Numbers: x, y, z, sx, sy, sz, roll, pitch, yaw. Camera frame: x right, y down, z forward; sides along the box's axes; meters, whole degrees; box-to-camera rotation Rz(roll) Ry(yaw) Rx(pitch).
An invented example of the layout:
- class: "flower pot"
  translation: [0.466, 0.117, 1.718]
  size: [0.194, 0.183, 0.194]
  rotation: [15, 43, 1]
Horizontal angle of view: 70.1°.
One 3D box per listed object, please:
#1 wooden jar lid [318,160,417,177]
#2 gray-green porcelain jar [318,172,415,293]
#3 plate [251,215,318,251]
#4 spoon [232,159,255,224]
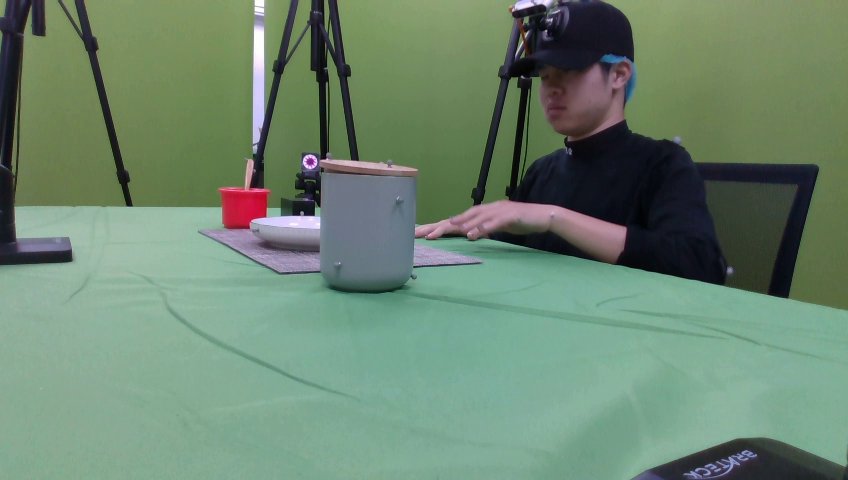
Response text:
- class: "wooden jar lid"
  translation: [-0.063, -0.073, 0.665]
  size: [0.108, 0.020, 0.108]
  rotation: [5, 9, 0]
- class: "gray-green porcelain jar"
  translation: [-0.064, -0.010, 0.672]
  size: [0.106, 0.126, 0.106]
  rotation: [3, 7, 0]
- class: "plate"
  translation: [-0.170, -0.012, 0.971]
  size: [0.208, 0.039, 0.207]
  rotation: [3, 7, 0]
- class: "spoon"
  translation: [-0.356, -0.101, 1.218]
  size: [0.042, 0.021, 0.193]
  rotation: [1, 51, -9]
